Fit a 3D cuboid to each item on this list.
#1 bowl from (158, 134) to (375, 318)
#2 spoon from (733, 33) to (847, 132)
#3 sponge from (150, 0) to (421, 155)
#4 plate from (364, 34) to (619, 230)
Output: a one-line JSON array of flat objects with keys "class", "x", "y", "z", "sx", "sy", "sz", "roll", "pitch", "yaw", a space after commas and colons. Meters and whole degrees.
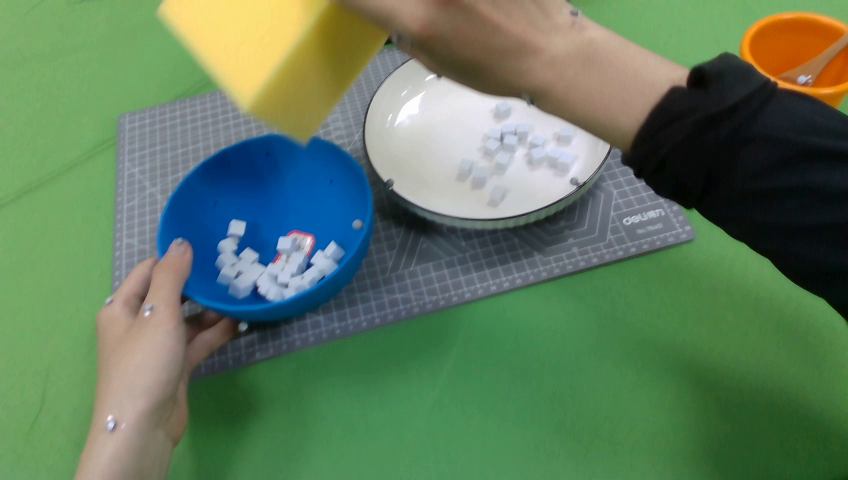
[{"class": "bowl", "x": -0.105, "y": 0.000, "z": 0.448, "sx": 0.151, "sy": 0.077, "sz": 0.150, "roll": -3, "pitch": 57, "yaw": 5}, {"class": "spoon", "x": 0.324, "y": -0.152, "z": 0.456, "sx": 0.022, "sy": 0.194, "sz": 0.041, "roll": 8, "pitch": 49, "yaw": -43}, {"class": "sponge", "x": -0.066, "y": -0.173, "z": 0.381, "sx": 0.117, "sy": 0.061, "sz": 0.207, "roll": 44, "pitch": 100, "yaw": 24}, {"class": "plate", "x": 0.054, "y": -0.092, "z": 0.512, "sx": 0.209, "sy": 0.038, "sz": 0.207, "roll": -3, "pitch": 58, "yaw": 5}]
